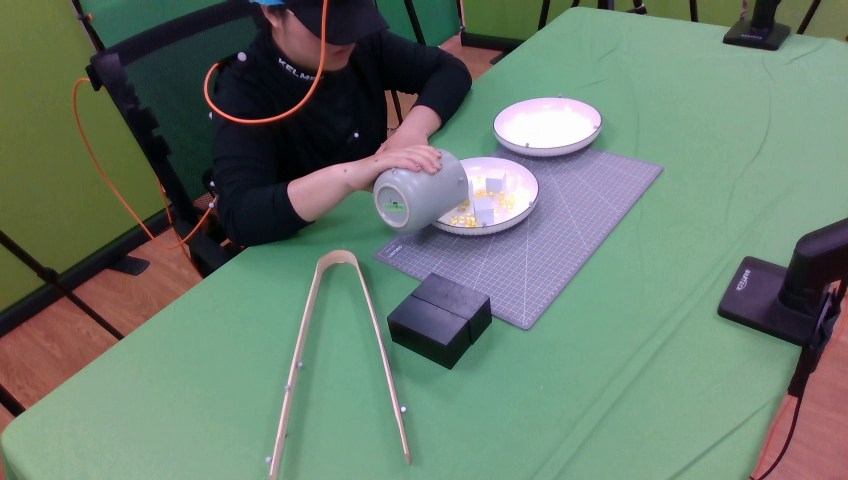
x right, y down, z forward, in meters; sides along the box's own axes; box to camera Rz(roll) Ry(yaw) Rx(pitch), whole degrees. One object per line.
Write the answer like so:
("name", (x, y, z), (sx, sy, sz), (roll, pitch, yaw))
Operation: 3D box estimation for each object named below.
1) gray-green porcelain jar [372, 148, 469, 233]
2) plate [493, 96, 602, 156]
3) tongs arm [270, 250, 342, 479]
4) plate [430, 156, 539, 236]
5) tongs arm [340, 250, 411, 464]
("gray-green porcelain jar", (-0.009, -0.076, 0.943), (0.105, 0.106, 0.127), (24, 38, 33))
("plate", (0.239, -0.218, 1.180), (0.209, 0.038, 0.208), (-5, 39, 4))
("tongs arm", (-0.153, 0.147, 0.826), (0.051, 0.026, 0.382), (-6, 39, 3))
("plate", (0.091, -0.072, 1.034), (0.207, 0.039, 0.206), (-5, 40, 5))
("tongs arm", (-0.070, 0.136, 0.830), (0.028, 0.028, 0.384), (-18, 40, -6))
